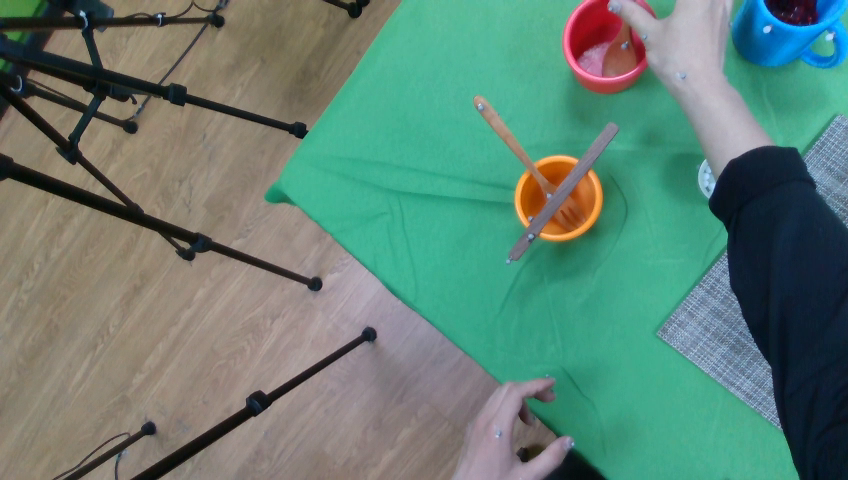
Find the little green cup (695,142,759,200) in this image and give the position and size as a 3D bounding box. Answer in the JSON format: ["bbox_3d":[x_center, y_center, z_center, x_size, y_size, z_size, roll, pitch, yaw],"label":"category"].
[{"bbox_3d":[0.321,-0.072,0.650,0.061,0.039,0.061,0,90,15],"label":"little green cup"}]

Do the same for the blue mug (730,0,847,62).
[{"bbox_3d":[0.373,-0.225,0.604,0.082,0.106,0.116,-40,80,11],"label":"blue mug"}]

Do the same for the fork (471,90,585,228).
[{"bbox_3d":[0.113,-0.083,0.645,0.028,0.018,0.209,-36,124,16],"label":"fork"}]

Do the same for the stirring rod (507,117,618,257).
[{"bbox_3d":[0.144,-0.054,0.636,0.014,0.006,0.176,38,97,13],"label":"stirring rod"}]

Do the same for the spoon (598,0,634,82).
[{"bbox_3d":[0.205,-0.235,0.607,0.041,0.195,0.021,38,71,24],"label":"spoon"}]
